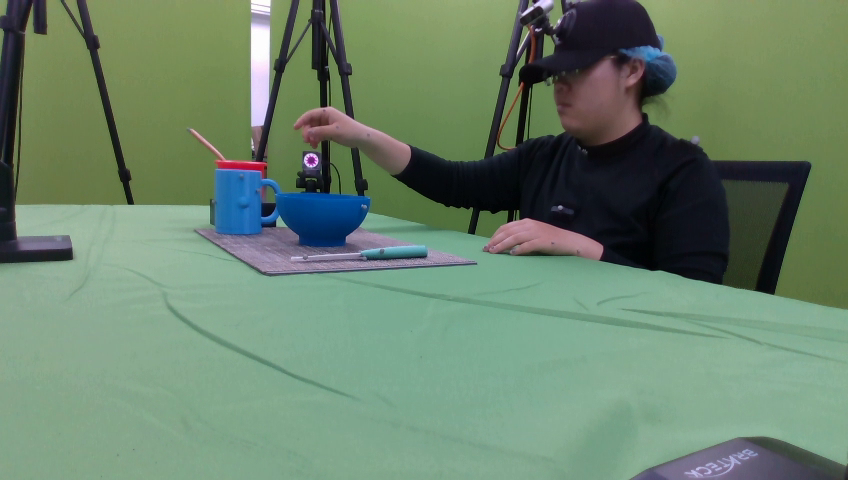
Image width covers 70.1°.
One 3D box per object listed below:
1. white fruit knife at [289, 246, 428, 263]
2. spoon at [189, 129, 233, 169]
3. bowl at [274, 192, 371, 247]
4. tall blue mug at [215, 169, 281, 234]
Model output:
[{"bbox_3d":[-0.082,0.022,0.822,0.208,0.016,0.027,-3,-20,-30],"label":"white fruit knife"},{"bbox_3d":[-0.388,-0.150,1.174,0.193,0.021,0.042,49,20,7],"label":"spoon"},{"bbox_3d":[-0.161,-0.033,0.958,0.151,0.077,0.151,3,8,0],"label":"bowl"},{"bbox_3d":[-0.313,-0.069,1.061,0.077,0.108,0.108,6,8,31],"label":"tall blue mug"}]
